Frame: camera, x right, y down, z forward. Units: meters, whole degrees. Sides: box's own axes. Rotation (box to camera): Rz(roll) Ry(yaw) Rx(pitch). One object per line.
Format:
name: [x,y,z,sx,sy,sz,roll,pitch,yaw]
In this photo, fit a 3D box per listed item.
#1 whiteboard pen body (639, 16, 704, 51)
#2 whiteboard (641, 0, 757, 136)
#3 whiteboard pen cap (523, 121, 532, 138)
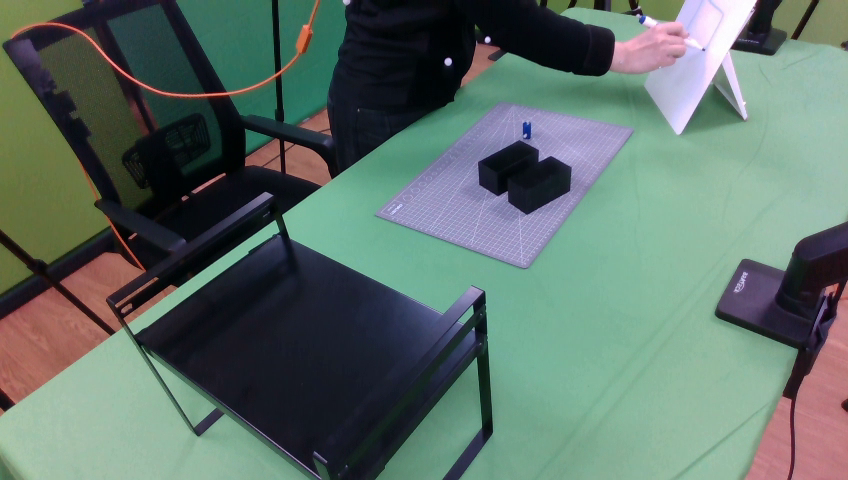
whiteboard pen body: [0.448,-0.369,1.087,0.141,0.017,0.017,19,39,-13]
whiteboard: [0.576,-0.367,1.147,0.144,0.306,0.216,9,39,-9]
whiteboard pen cap: [0.204,-0.216,1.185,0.018,0.033,0.018,-6,41,6]
